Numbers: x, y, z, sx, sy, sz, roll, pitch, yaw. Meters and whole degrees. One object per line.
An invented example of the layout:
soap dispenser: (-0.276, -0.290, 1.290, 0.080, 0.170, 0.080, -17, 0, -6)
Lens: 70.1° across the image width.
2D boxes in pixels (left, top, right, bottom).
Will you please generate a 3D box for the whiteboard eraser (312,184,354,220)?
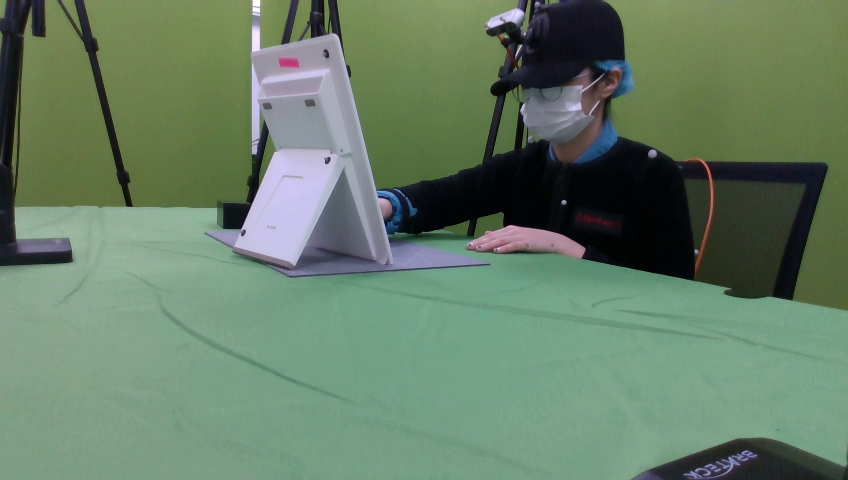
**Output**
whiteboard eraser: (-0.135, -0.055, 0.893, 0.019, 0.041, 0.101, -34, 11, -34)

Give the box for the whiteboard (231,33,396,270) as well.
whiteboard: (-0.193, -0.094, 0.805, 0.144, 0.305, 0.216, -29, 25, -35)
